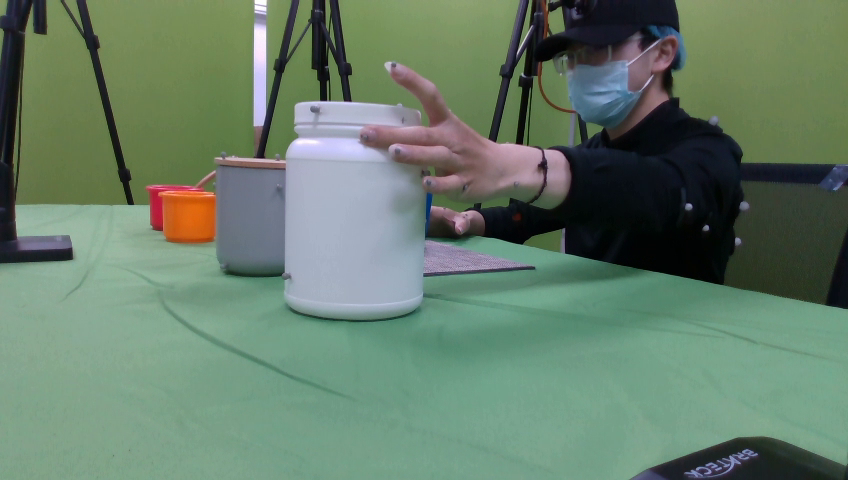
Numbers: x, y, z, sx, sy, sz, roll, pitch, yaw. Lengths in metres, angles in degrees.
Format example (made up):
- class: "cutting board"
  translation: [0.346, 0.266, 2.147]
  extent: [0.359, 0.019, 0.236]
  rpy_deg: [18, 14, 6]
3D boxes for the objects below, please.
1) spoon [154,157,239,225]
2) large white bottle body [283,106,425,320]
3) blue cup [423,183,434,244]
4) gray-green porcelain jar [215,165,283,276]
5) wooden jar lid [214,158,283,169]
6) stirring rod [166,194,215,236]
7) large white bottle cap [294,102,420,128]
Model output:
- class: "spoon"
  translation: [-0.411, -0.092, 1.104]
  extent: [0.194, 0.022, 0.041]
  rpy_deg: [-50, 33, -20]
- class: "large white bottle body"
  translation: [-0.065, -0.029, 0.564]
  extent: [0.131, 0.184, 0.130]
  rpy_deg: [2, 7, 0]
- class: "blue cup"
  translation: [-0.029, -0.042, 0.979]
  extent: [0.093, 0.100, 0.092]
  rpy_deg: [2, 9, 0]
- class: "gray-green porcelain jar"
  translation: [-0.195, -0.024, 0.726]
  extent: [0.106, 0.126, 0.106]
  rpy_deg: [3, 7, 0]
- class: "wooden jar lid"
  translation: [-0.193, -0.085, 0.719]
  extent: [0.108, 0.020, 0.108]
  rpy_deg: [2, 9, 0]
- class: "stirring rod"
  translation: [-0.341, -0.066, 0.967]
  extent: [0.176, 0.006, 0.014]
  rpy_deg: [-42, 23, -9]
- class: "large white bottle cap"
  translation: [-0.061, -0.112, 0.553]
  extent: [0.115, 0.018, 0.115]
  rpy_deg: [2, 8, 0]
